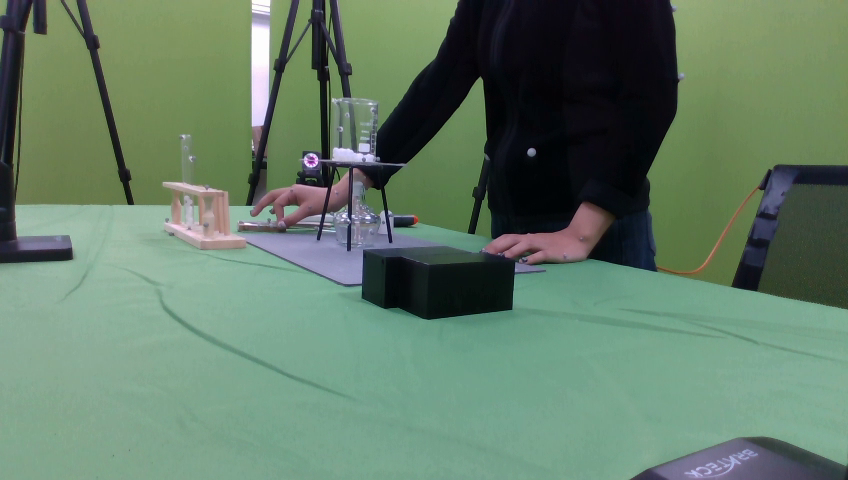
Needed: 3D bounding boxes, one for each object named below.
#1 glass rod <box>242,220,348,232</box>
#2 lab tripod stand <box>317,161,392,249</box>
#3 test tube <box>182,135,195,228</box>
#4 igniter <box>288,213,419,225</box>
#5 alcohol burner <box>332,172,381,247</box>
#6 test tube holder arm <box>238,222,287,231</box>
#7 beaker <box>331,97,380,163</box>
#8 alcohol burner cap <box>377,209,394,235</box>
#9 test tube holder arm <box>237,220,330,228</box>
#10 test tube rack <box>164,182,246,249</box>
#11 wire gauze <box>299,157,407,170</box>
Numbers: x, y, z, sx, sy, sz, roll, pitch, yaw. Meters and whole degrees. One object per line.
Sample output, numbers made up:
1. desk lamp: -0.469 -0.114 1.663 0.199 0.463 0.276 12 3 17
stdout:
1. glass rod: -0.232 -0.025 1.109 0.201 0.008 0.008 5 5 -31
2. lab tripod stand: -0.111 -0.059 0.964 0.148 0.131 0.148 4 8 0
3. test tube: -0.382 -0.095 0.983 0.017 0.150 0.017 -1 2 0
4. igniter: -0.144 -0.044 1.277 0.278 0.025 0.057 -1 -2 -22
5. alcohol burner: -0.107 -0.048 0.961 0.078 0.119 0.078 1 9 0
6. test tube holder arm: -0.297 -0.024 1.113 0.088 0.015 0.010 -1 42 -33
7. beaker: -0.111 -0.171 0.950 0.073 0.100 0.084 12 12 42
8. alcohol burner cap: -0.072 -0.035 1.145 0.034 0.048 0.034 2 7 0
9. test tube holder arm: -0.261 -0.029 1.141 0.179 0.015 0.013 -2 42 -33
10. test tube rack: -0.360 -0.045 0.983 0.067 0.085 0.241 -3 9 -34
11. wire gauze: -0.112 -0.124 0.959 0.121 0.011 0.126 13 11 40
